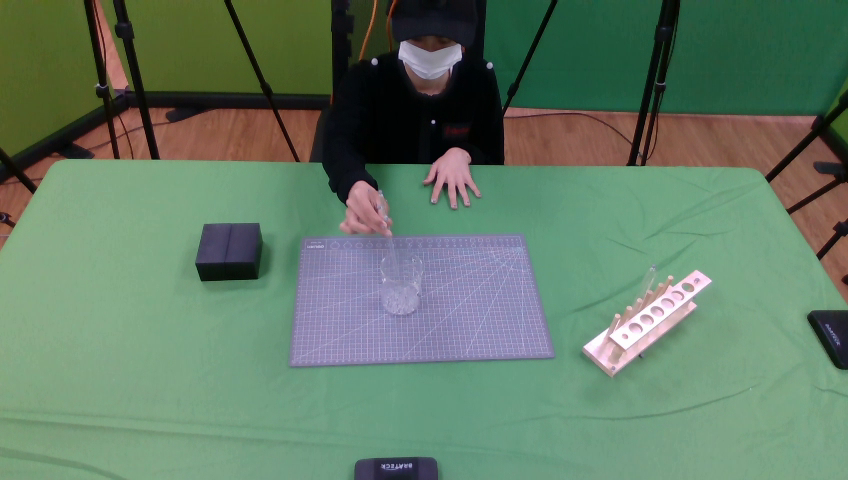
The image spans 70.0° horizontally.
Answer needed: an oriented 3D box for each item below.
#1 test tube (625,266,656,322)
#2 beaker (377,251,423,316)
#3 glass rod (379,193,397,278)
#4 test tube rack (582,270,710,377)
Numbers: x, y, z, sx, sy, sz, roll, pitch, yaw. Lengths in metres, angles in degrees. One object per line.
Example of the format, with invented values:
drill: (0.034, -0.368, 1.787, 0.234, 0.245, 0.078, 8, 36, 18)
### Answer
test tube: (0.366, 0.096, 1.027, 0.017, 0.151, 0.017, 1, 47, 0)
beaker: (-0.040, 0.081, 1.060, 0.074, 0.101, 0.083, -32, 57, -30)
glass rod: (-0.057, -0.002, 0.968, 0.008, 0.201, 0.008, -3, 49, 3)
test tube rack: (0.389, 0.132, 1.057, 0.242, 0.085, 0.066, -28, 54, -28)
